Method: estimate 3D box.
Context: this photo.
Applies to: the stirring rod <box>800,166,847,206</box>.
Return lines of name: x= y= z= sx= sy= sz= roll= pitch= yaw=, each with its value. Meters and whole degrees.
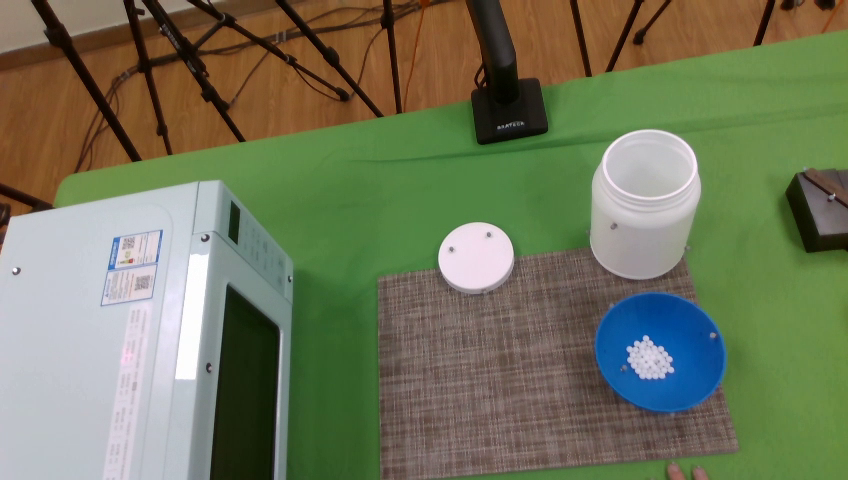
stirring rod: x=0.567 y=-0.040 z=0.785 sx=0.174 sy=0.006 sz=0.014 roll=49 pitch=116 yaw=28

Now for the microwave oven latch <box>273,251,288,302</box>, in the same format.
microwave oven latch: x=-0.225 y=0.058 z=0.933 sx=0.030 sy=0.030 sz=0.078 roll=-9 pitch=62 yaw=8

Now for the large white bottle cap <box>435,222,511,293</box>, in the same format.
large white bottle cap: x=0.074 y=0.025 z=0.912 sx=0.114 sy=0.018 sz=0.114 roll=-5 pitch=61 yaw=10

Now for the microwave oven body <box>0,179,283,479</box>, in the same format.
microwave oven body: x=-0.375 y=0.192 z=0.784 sx=0.326 sy=0.262 sz=0.437 roll=-9 pitch=62 yaw=7

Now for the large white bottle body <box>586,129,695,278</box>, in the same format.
large white bottle body: x=0.283 y=-0.046 z=0.805 sx=0.130 sy=0.186 sz=0.129 roll=-6 pitch=58 yaw=10

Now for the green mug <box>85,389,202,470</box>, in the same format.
green mug: x=-0.351 y=0.238 z=0.780 sx=0.125 sy=0.106 sz=0.091 roll=-19 pitch=62 yaw=-3

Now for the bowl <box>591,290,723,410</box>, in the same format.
bowl: x=0.287 y=0.146 z=0.765 sx=0.151 sy=0.077 sz=0.150 roll=-5 pitch=62 yaw=11

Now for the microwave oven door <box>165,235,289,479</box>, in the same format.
microwave oven door: x=-0.230 y=0.201 z=0.741 sx=0.039 sy=0.246 sz=0.352 roll=-10 pitch=61 yaw=8
